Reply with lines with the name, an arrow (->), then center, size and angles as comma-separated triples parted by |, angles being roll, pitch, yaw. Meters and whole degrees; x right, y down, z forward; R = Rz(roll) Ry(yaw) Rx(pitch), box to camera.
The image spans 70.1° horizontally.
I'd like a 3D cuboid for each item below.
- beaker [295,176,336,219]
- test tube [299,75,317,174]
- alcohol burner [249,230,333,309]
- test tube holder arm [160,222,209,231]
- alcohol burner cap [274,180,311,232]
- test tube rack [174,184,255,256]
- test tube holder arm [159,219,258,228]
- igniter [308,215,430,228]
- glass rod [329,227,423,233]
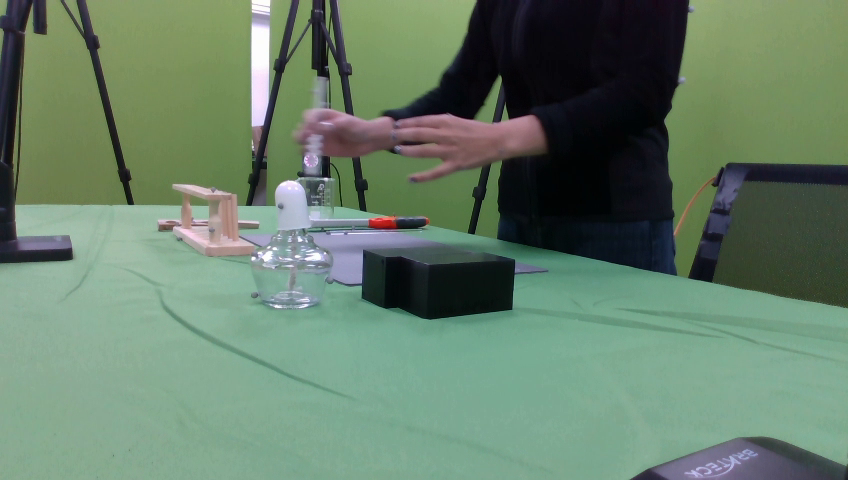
beaker -> -0.224, -0.080, 1.247 | 0.084, 0.100, 0.073 | -1, 8, -18
test tube -> -0.176, -0.175, 0.915 | 0.017, 0.150, 0.017 | 4, -3, 1
alcohol burner -> -0.125, 0.004, 0.568 | 0.078, 0.119, 0.078 | 2, 9, 0
test tube holder arm -> -0.423, -0.024, 1.076 | 0.088, 0.015, 0.010 | -3, 46, -39
alcohol burner cap -> -0.125, -0.032, 0.563 | 0.034, 0.048, 0.034 | -5, 6, 1
test tube rack -> -0.327, -0.036, 0.928 | 0.067, 0.085, 0.241 | -2, 9, -32
test tube holder arm -> -0.390, -0.030, 1.107 | 0.179, 0.015, 0.013 | -4, 46, -39
igniter -> -0.108, -0.037, 1.228 | 0.278, 0.025, 0.057 | -3, -1, -35
glass rod -> -0.087, -0.020, 1.148 | 0.201, 0.008, 0.008 | -3, 8, -32
